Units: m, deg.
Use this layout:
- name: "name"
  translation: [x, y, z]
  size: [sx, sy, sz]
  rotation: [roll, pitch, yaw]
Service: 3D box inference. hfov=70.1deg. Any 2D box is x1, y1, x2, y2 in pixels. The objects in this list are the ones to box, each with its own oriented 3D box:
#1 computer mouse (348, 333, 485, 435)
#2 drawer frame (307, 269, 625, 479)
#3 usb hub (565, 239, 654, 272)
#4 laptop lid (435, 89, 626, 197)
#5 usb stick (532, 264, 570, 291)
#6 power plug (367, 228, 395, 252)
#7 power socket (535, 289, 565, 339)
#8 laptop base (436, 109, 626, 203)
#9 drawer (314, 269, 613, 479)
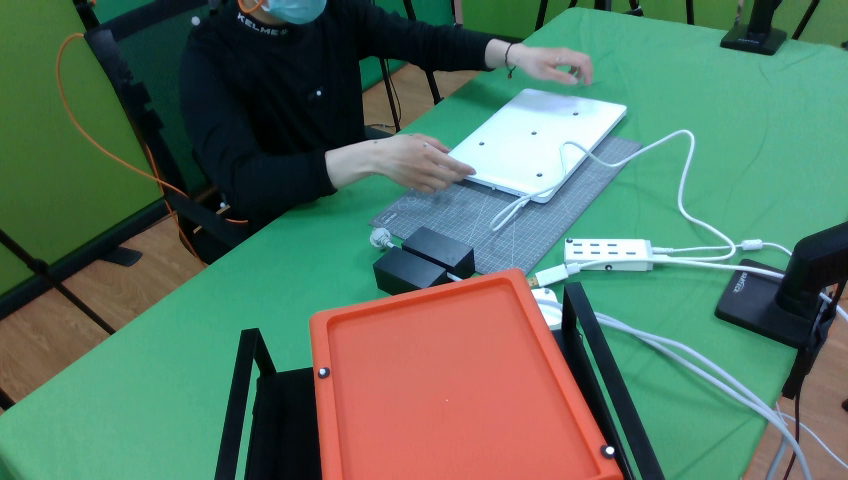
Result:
- name: "computer mouse"
  translation: [-0.006, 0.121, 0.527]
  size: [0.117, 0.041, 0.063]
  rotation: [20, 39, 14]
- name: "drawer frame"
  translation: [0.019, 0.135, 0.487]
  size: [0.202, 0.083, 0.212]
  rotation: [-12, 41, -7]
- name: "usb hub"
  translation: [0.275, 0.022, 0.906]
  size: [0.125, 0.025, 0.049]
  rotation: [1, 41, 9]
- name: "laptop lid"
  translation: [0.211, -0.202, 1.165]
  size: [0.240, 0.013, 0.358]
  rotation: [21, 47, 32]
- name: "usb stick"
  translation: [0.180, 0.058, 0.876]
  size: [0.059, 0.027, 0.021]
  rotation: [-32, 88, -7]
- name: "power plug"
  translation: [-0.065, 0.010, 0.956]
  size: [0.035, 0.053, 0.072]
  rotation: [-30, 55, 2]
- name: "power socket"
  translation: [0.081, 0.112, 0.822]
  size: [0.227, 0.033, 0.072]
  rotation: [-7, 41, -1]
- name: "laptop base"
  translation: [0.214, -0.192, 1.172]
  size: [0.233, 0.023, 0.355]
  rotation: [19, 46, 32]
- name: "drawer"
  translation: [0.018, 0.135, 0.490]
  size: [0.195, 0.073, 0.210]
  rotation: [-11, 41, -5]
